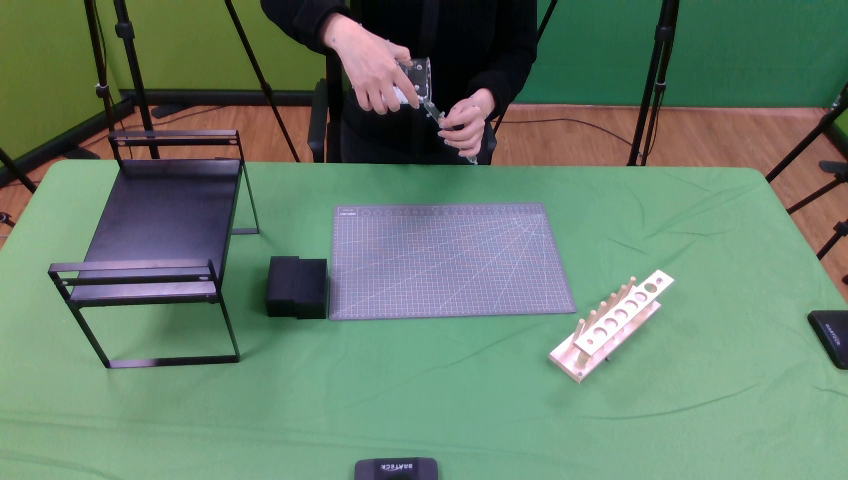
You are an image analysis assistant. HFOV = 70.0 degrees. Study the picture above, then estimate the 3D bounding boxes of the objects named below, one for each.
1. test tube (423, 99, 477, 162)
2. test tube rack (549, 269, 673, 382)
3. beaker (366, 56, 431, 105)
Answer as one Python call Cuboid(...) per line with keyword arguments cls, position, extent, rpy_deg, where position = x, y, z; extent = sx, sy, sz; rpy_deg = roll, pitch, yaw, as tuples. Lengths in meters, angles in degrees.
Cuboid(cls="test tube", position=(0.047, -0.187, 1.053), extent=(0.017, 0.151, 0.017), rpy_deg=(-27, 38, 24))
Cuboid(cls="test tube rack", position=(0.325, 0.134, 1.048), extent=(0.242, 0.085, 0.066), rpy_deg=(-32, 55, -30))
Cuboid(cls="beaker", position=(-0.041, -0.254, 0.980), extent=(0.100, 0.084, 0.073), rpy_deg=(-2, 48, -3))
